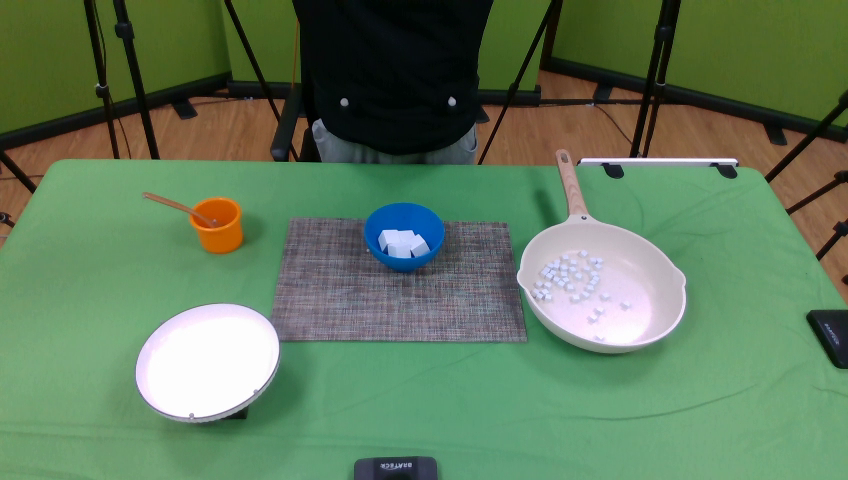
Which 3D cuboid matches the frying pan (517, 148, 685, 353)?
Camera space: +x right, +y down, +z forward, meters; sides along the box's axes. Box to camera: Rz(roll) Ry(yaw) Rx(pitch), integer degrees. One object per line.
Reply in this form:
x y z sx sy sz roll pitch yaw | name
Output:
0.311 0.002 1.163 0.307 0.103 0.484 0 55 -5 | frying pan

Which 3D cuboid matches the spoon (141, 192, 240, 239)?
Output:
-0.428 -0.048 1.123 0.021 0.195 0.041 -38 44 21 | spoon

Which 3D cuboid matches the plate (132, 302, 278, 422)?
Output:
-0.325 0.186 0.916 0.208 0.039 0.206 3 44 -2 | plate

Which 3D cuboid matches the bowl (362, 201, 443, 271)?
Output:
-0.041 0.006 1.145 0.151 0.077 0.150 2 46 -2 | bowl
